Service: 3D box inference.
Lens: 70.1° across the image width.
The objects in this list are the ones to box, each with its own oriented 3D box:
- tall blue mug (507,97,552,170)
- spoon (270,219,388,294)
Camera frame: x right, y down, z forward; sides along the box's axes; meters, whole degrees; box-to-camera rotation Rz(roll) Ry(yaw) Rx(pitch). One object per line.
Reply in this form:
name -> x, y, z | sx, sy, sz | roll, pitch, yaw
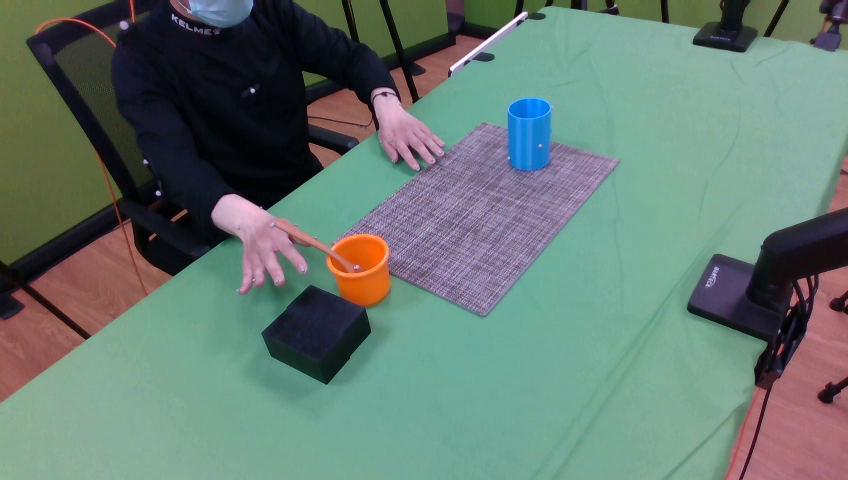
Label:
tall blue mug -> 0.179, -0.198, 1.101 | 0.078, 0.108, 0.106 | -37, 49, -28
spoon -> -0.133, 0.022, 0.865 | 0.021, 0.195, 0.041 | -37, 26, 38
